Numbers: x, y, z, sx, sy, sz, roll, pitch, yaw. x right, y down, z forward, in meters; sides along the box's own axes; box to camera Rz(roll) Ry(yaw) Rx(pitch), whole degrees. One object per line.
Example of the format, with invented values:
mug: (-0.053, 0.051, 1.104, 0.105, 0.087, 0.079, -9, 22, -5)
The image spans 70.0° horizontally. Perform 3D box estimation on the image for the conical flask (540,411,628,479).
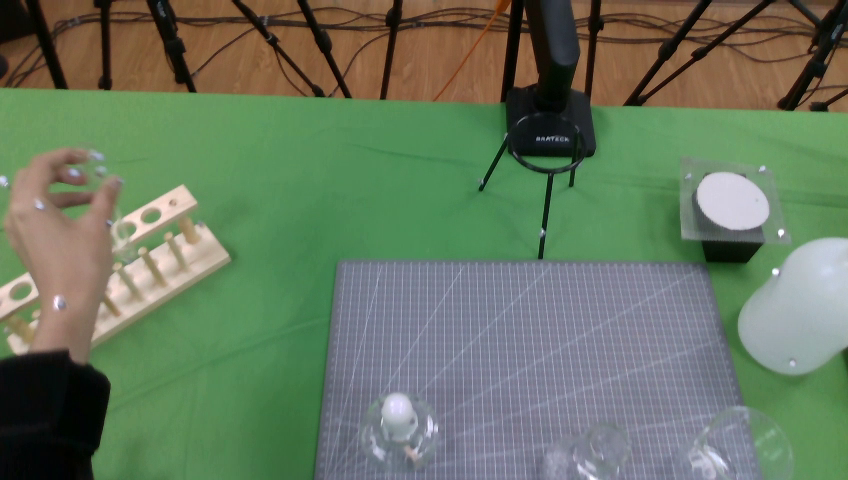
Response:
conical flask: (0.153, 0.195, 0.560, 0.075, 0.123, 0.074, 0, 58, 0)

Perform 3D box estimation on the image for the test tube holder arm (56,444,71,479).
test tube holder arm: (-0.324, 0.228, 0.541, 0.010, 0.015, 0.087, -7, 62, 4)

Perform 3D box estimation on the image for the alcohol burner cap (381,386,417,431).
alcohol burner cap: (-0.024, 0.151, 0.548, 0.034, 0.048, 0.033, -3, 57, 4)

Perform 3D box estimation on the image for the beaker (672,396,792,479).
beaker: (0.281, 0.199, 0.572, 0.084, 0.101, 0.073, 5, 57, 4)

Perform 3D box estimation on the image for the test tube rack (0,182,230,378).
test tube rack: (-0.349, 0.042, 0.676, 0.242, 0.086, 0.066, -35, 65, -20)

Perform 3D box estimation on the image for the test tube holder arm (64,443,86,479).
test tube holder arm: (-0.315, 0.267, 0.520, 0.013, 0.015, 0.177, -8, 62, 4)

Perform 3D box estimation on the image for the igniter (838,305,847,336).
igniter: (0.481, 0.194, 0.623, 0.057, 0.025, 0.274, 10, 58, -6)

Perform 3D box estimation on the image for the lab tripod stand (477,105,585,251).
lab tripod stand: (0.137, -0.081, 0.730, 0.148, 0.132, 0.147, 1, 59, -2)

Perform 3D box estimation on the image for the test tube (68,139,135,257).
test tube: (-0.271, -0.030, 0.516, 0.017, 0.151, 0.017, 5, 55, -7)

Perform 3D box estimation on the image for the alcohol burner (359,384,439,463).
alcohol burner: (-0.024, 0.170, 0.579, 0.078, 0.120, 0.077, 1, 56, -2)

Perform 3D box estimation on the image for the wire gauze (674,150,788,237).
wire gauze: (0.366, -0.056, 0.732, 0.121, 0.011, 0.124, 7, 58, 4)

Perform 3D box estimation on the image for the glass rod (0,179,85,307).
glass rod: (-0.384, 0.012, 0.616, 0.008, 0.201, 0.008, 3, 49, -3)

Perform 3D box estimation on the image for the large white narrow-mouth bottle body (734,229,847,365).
large white narrow-mouth bottle body: (0.401, 0.049, 0.615, 0.102, 0.196, 0.101, 0, 57, 0)

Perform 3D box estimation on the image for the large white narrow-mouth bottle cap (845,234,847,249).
large white narrow-mouth bottle cap: (0.401, 0.001, 0.543, 0.038, 0.024, 0.037, 0, 57, 0)
